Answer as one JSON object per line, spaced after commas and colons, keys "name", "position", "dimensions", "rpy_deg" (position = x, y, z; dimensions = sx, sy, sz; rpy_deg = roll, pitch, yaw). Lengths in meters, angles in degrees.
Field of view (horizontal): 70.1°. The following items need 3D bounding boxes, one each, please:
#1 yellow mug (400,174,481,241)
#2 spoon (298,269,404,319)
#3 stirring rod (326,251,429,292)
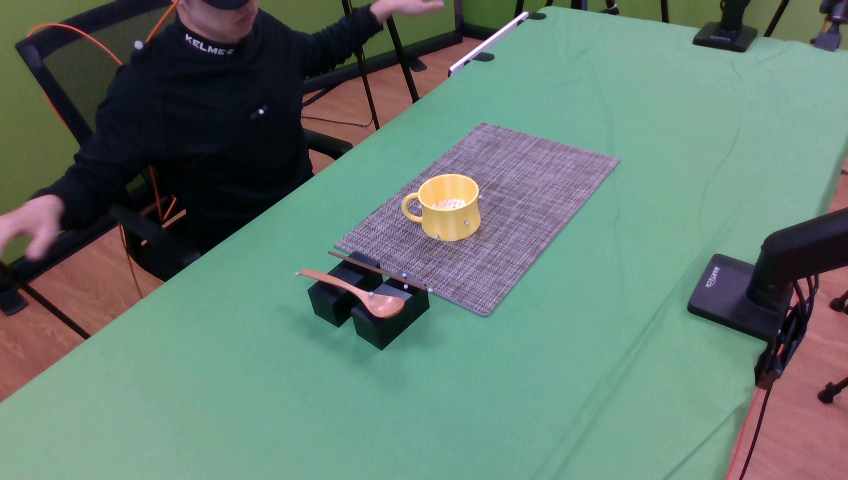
{"name": "yellow mug", "position": [0.026, -0.054, 0.988], "dimensions": [0.130, 0.064, 0.099], "rpy_deg": [-1, 40, 8]}
{"name": "spoon", "position": [-0.106, 0.068, 0.831], "dimensions": [0.192, 0.022, 0.042], "rpy_deg": [21, 49, 31]}
{"name": "stirring rod", "position": [-0.068, 0.043, 0.858], "dimensions": [0.175, 0.006, 0.014], "rpy_deg": [18, 9, 27]}
